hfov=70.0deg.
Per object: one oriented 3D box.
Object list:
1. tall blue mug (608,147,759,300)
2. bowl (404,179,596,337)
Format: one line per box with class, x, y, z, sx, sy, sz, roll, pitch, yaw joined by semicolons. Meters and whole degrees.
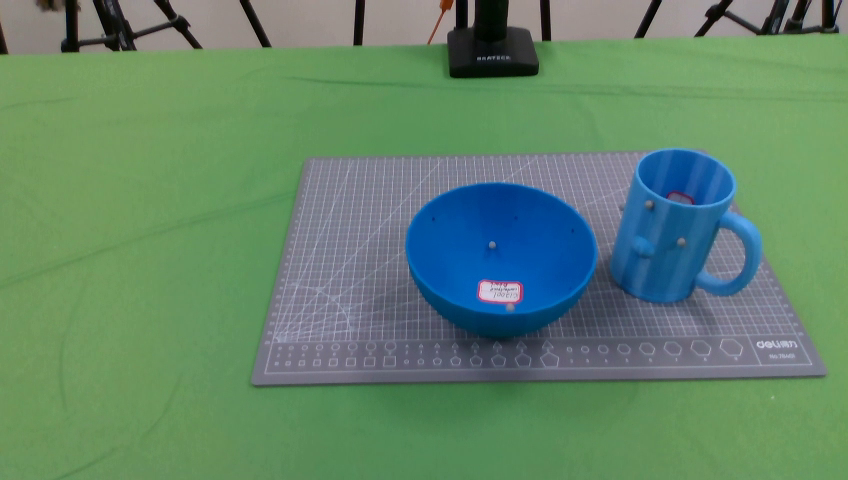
tall blue mug;0.219;-0.009;0.509;0.107;0.109;0.077;13;45;15
bowl;0.059;0.026;0.500;0.151;0.077;0.150;-1;44;1
